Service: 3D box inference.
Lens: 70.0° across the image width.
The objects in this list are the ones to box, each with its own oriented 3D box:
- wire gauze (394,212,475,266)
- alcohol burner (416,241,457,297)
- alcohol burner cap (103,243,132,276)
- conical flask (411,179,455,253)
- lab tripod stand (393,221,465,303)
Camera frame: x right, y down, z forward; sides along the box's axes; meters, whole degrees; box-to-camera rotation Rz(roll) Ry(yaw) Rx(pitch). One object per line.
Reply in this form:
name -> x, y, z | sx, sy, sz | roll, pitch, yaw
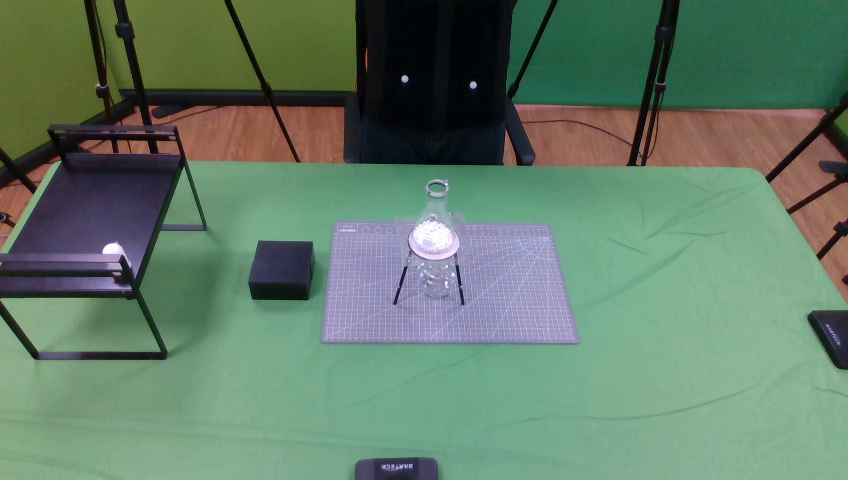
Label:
wire gauze -> 0.015, -0.001, 1.029 | 0.125, 0.011, 0.120 | -5, 45, -5
alcohol burner -> 0.024, 0.047, 1.088 | 0.078, 0.120, 0.077 | 1, 47, -1
alcohol burner cap -> -0.446, 0.025, 0.875 | 0.034, 0.048, 0.033 | 3, 46, -3
conical flask -> 0.018, -0.042, 0.985 | 0.075, 0.122, 0.075 | 2, 47, -2
lab tripod stand -> 0.010, 0.045, 1.074 | 0.148, 0.132, 0.147 | 2, 48, -2
